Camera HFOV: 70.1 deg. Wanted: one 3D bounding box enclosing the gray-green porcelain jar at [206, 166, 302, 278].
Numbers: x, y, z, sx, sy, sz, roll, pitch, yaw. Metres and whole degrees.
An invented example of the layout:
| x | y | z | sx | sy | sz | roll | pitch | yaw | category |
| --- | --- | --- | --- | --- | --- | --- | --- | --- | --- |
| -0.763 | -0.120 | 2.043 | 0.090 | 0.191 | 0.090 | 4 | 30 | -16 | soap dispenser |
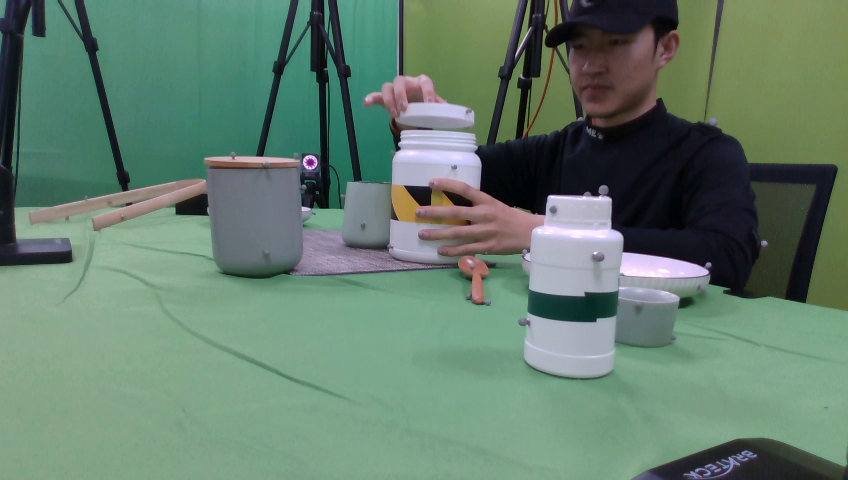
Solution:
| x | y | z | sx | sy | sz | roll | pitch | yaw | category |
| --- | --- | --- | --- | --- | --- | --- | --- | --- | --- |
| -0.201 | -0.024 | 0.725 | 0.106 | 0.126 | 0.106 | -1 | 9 | 1 | gray-green porcelain jar |

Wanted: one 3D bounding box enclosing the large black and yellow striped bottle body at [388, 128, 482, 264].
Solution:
| x | y | z | sx | sy | sz | roll | pitch | yaw | category |
| --- | --- | --- | --- | --- | --- | --- | --- | --- | --- |
| 0.016 | -0.065 | 0.873 | 0.131 | 0.184 | 0.130 | 3 | 7 | 0 | large black and yellow striped bottle body |

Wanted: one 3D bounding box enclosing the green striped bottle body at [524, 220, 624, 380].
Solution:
| x | y | z | sx | sy | sz | roll | pitch | yaw | category |
| --- | --- | --- | --- | --- | --- | --- | --- | --- | --- |
| 0.104 | 0.031 | 0.422 | 0.063 | 0.119 | 0.063 | 2 | 8 | 0 | green striped bottle body |

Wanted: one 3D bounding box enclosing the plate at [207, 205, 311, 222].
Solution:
| x | y | z | sx | sy | sz | roll | pitch | yaw | category |
| --- | --- | --- | --- | --- | --- | --- | --- | --- | --- |
| -0.342 | -0.050 | 1.259 | 0.208 | 0.039 | 0.207 | 2 | 7 | 0 | plate |

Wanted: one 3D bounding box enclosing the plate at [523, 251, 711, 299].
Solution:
| x | y | z | sx | sy | sz | roll | pitch | yaw | category |
| --- | --- | --- | --- | --- | --- | --- | --- | --- | --- |
| 0.219 | 0.041 | 0.706 | 0.209 | 0.038 | 0.209 | 2 | 7 | 0 | plate |

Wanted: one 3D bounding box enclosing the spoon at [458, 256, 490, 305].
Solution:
| x | y | z | sx | sy | sz | roll | pitch | yaw | category |
| --- | --- | --- | --- | --- | --- | --- | --- | --- | --- |
| 0.059 | 0.044 | 0.695 | 0.041 | 0.021 | 0.194 | 17 | 7 | 1 | spoon |

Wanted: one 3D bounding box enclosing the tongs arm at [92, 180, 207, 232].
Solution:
| x | y | z | sx | sy | sz | roll | pitch | yaw | category |
| --- | --- | --- | --- | --- | --- | --- | --- | --- | --- |
| -0.534 | -0.076 | 1.221 | 0.028 | 0.028 | 0.388 | -2 | 15 | 12 | tongs arm |

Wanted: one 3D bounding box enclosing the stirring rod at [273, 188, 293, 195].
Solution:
| x | y | z | sx | sy | sz | roll | pitch | yaw | category |
| --- | --- | --- | --- | --- | --- | --- | --- | --- | --- |
| -0.353 | -0.122 | 1.519 | 0.006 | 0.014 | 0.176 | 2 | 7 | 1 | stirring rod |

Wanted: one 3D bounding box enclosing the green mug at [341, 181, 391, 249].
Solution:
| x | y | z | sx | sy | sz | roll | pitch | yaw | category |
| --- | --- | --- | --- | --- | --- | --- | --- | --- | --- |
| -0.090 | -0.044 | 0.996 | 0.093 | 0.105 | 0.125 | 1 | 7 | -9 | green mug |

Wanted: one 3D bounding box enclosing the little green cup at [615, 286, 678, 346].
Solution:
| x | y | z | sx | sy | sz | roll | pitch | yaw | category |
| --- | --- | --- | --- | --- | --- | --- | --- | --- | --- |
| 0.180 | 0.063 | 0.505 | 0.061 | 0.038 | 0.061 | -2 | 7 | 1 | little green cup |

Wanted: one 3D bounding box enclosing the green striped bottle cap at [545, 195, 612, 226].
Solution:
| x | y | z | sx | sy | sz | roll | pitch | yaw | category |
| --- | --- | --- | --- | --- | --- | --- | --- | --- | --- |
| 0.106 | -0.020 | 0.414 | 0.044 | 0.020 | 0.044 | 2 | 4 | 0 | green striped bottle cap |

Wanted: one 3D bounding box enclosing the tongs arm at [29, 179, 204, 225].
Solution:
| x | y | z | sx | sy | sz | roll | pitch | yaw | category |
| --- | --- | --- | --- | --- | --- | --- | --- | --- | --- |
| -0.609 | -0.083 | 1.245 | 0.050 | 0.026 | 0.386 | 5 | 16 | 23 | tongs arm |

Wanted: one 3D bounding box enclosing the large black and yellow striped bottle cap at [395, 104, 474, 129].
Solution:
| x | y | z | sx | sy | sz | roll | pitch | yaw | category |
| --- | --- | --- | --- | --- | --- | --- | --- | --- | --- |
| 0.016 | -0.178 | 0.873 | 0.115 | 0.019 | 0.115 | 4 | 3 | 0 | large black and yellow striped bottle cap |

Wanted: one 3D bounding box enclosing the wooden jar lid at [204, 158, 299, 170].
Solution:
| x | y | z | sx | sy | sz | roll | pitch | yaw | category |
| --- | --- | --- | --- | --- | --- | --- | --- | --- | --- |
| -0.202 | -0.086 | 0.714 | 0.108 | 0.020 | 0.108 | 3 | 11 | 0 | wooden jar lid |
